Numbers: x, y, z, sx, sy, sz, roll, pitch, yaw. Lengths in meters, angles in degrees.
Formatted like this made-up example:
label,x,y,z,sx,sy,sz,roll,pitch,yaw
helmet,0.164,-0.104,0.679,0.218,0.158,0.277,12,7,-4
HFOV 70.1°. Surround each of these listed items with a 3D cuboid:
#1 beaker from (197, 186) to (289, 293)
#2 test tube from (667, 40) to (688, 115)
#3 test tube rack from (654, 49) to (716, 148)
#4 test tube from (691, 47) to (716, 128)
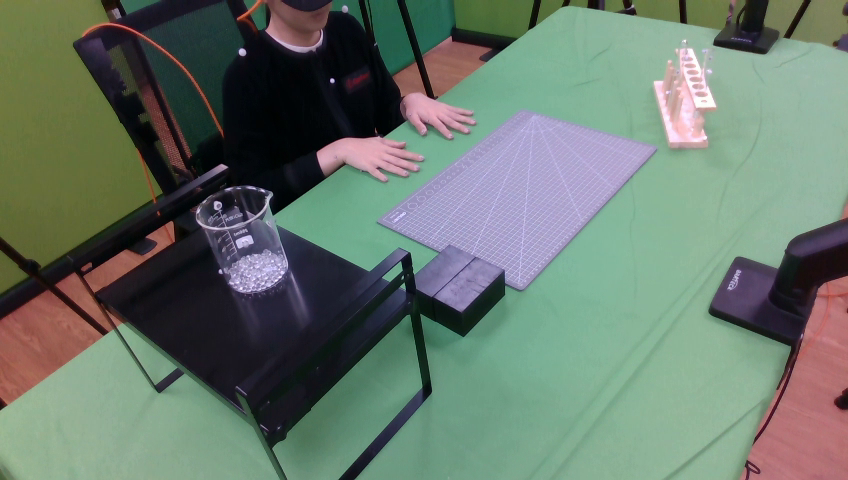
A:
label,x,y,z,sx,sy,sz,roll,pitch,yaw
beaker,-0.192,0.001,0.666,0.084,0.101,0.073,-33,47,-27
test tube,0.477,-0.303,1.138,0.017,0.151,0.017,-5,42,5
test tube rack,0.502,-0.281,1.176,0.066,0.085,0.241,1,41,11
test tube,0.503,-0.272,1.090,0.017,0.151,0.017,-3,37,3
